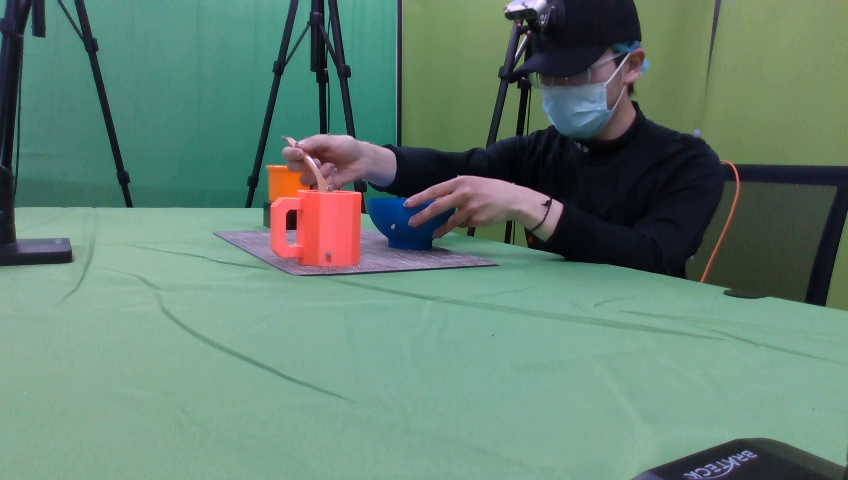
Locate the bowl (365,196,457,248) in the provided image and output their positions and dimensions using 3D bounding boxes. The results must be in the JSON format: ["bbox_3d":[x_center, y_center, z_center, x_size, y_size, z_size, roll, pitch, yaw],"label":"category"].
[{"bbox_3d":[-0.022,-0.030,1.000,0.151,0.077,0.151,2,7,0],"label":"bowl"}]

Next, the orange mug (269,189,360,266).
[{"bbox_3d":[-0.143,-0.019,0.796,0.127,0.100,0.083,2,5,-39],"label":"orange mug"}]

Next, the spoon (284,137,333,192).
[{"bbox_3d":[-0.154,-0.095,0.843,0.042,0.021,0.193,-1,41,-38],"label":"spoon"}]
